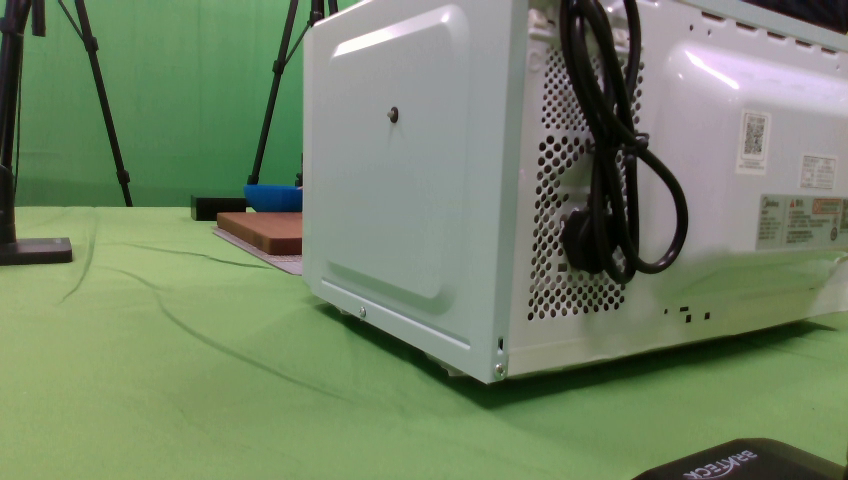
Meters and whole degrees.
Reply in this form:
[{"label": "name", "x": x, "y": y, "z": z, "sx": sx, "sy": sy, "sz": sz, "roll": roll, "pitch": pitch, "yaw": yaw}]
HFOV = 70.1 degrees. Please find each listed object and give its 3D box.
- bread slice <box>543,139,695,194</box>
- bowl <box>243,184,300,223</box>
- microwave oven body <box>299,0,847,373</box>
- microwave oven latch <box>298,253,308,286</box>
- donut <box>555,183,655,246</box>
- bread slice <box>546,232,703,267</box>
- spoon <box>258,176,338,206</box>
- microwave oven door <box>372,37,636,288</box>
[{"label": "bread slice", "x": 0.201, "y": -0.074, "z": 0.611, "sx": 0.133, "sy": 0.018, "sz": 0.107, "roll": 25, "pitch": 16, "yaw": 37}, {"label": "bowl", "x": -0.321, "y": -0.081, "z": 1.333, "sx": 0.151, "sy": 0.077, "sz": 0.151, "roll": 3, "pitch": 8, "yaw": 0}, {"label": "microwave oven body", "x": 0.152, "y": -0.055, "z": 0.542, "sx": 0.444, "sy": 0.260, "sz": 0.324, "roll": -2, "pitch": 7, "yaw": -33}, {"label": "microwave oven latch", "x": -0.081, "y": 0.028, "z": 0.582, "sx": 0.079, "sy": 0.029, "sz": 0.030, "roll": -1, "pitch": 7, "yaw": -31}, {"label": "donut", "x": 0.182, "y": -0.027, "z": 0.613, "sx": 0.099, "sy": 0.048, "sz": 0.099, "roll": 13, "pitch": -12, "yaw": 3}, {"label": "bread slice", "x": 0.201, "y": 0.011, "z": 0.589, "sx": 0.105, "sy": 0.019, "sz": 0.131, "roll": 9, "pitch": -9, "yaw": -27}, {"label": "spoon", "x": -0.279, "y": -0.112, "z": 1.356, "sx": 0.194, "sy": 0.021, "sz": 0.041, "roll": -27, "pitch": 18, "yaw": -27}, {"label": "microwave oven door", "x": 0.110, "y": -0.080, "z": 0.686, "sx": 0.358, "sy": 0.243, "sz": 0.039, "roll": -2, "pitch": 9, "yaw": -33}]
